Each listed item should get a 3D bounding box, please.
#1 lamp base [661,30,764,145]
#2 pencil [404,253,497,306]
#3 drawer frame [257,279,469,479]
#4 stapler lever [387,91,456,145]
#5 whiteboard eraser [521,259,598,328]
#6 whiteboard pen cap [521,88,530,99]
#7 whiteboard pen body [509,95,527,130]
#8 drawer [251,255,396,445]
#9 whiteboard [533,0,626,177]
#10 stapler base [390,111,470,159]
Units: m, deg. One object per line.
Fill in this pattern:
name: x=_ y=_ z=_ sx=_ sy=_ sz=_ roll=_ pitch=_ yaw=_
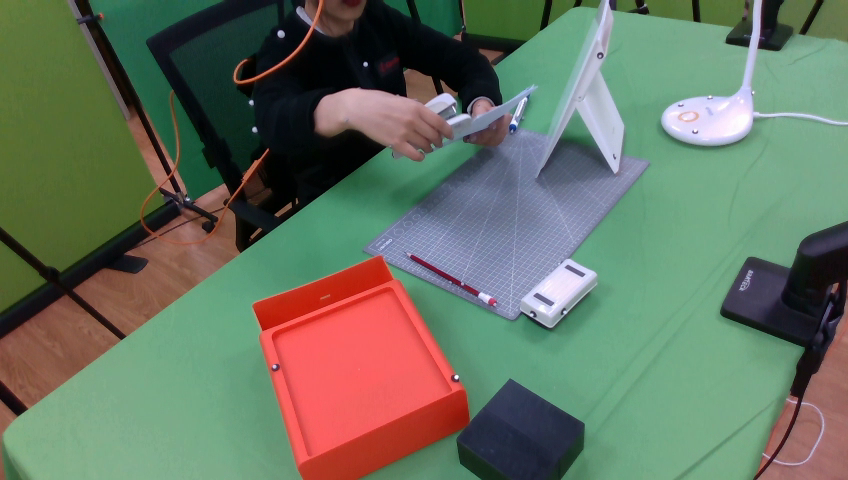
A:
lamp base: x=0.535 y=-0.287 z=1.096 sx=0.179 sy=0.181 sz=0.159 roll=-10 pitch=40 yaw=-4
pencil: x=0.034 y=0.056 z=0.914 sx=0.192 sy=0.012 sz=0.012 roll=27 pitch=52 yaw=38
drawer frame: x=-0.080 y=0.169 z=0.751 sx=0.202 sy=0.083 sz=0.211 roll=-21 pitch=42 yaw=-15
stapler lever: x=-0.006 y=-0.185 z=0.911 sx=0.118 sy=0.027 sz=0.040 roll=-26 pitch=75 yaw=-4
whiteboard eraser: x=0.189 y=0.076 z=0.843 sx=0.055 sy=0.042 sz=0.113 roll=29 pitch=53 yaw=37
whiteboard pen cap: x=0.219 y=-0.312 z=1.301 sx=0.018 sy=0.018 sz=0.033 roll=6 pitch=47 yaw=17
whiteboard pen body: x=0.199 y=-0.273 z=1.261 sx=0.017 sy=0.017 sz=0.140 roll=8 pitch=45 yaw=19
drawer: x=-0.105 y=0.135 z=0.798 sx=0.195 sy=0.073 sz=0.210 roll=-20 pitch=42 yaw=-14
whiteboard: x=0.321 y=-0.258 z=1.050 sx=0.144 sy=0.306 sz=0.217 roll=21 pitch=45 yaw=5
stapler base: x=0.006 y=-0.164 z=0.906 sx=0.131 sy=0.041 sz=0.024 roll=-27 pitch=74 yaw=-4
